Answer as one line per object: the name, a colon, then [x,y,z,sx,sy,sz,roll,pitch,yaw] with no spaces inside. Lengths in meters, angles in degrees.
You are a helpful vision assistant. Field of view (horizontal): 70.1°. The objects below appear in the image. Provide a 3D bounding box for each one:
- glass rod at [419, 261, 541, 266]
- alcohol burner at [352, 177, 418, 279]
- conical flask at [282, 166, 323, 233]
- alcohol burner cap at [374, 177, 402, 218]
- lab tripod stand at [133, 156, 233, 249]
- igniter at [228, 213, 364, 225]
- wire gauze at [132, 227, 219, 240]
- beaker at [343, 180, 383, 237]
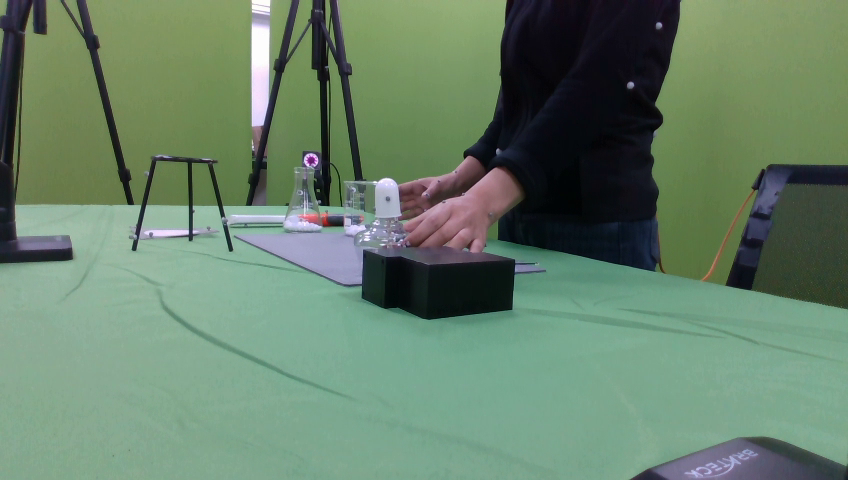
glass rod: [0.080,0.032,0.807,0.201,0.008,0.008,2,6,-31]
alcohol burner: [-0.045,-0.014,0.710,0.078,0.119,0.078,4,9,0]
conical flask: [-0.225,-0.077,1.129,0.075,0.122,0.075,2,8,0]
alcohol burner cap: [-0.044,-0.049,0.704,0.034,0.048,0.034,-5,9,1]
lab tripod stand: [-0.342,-0.054,0.878,0.148,0.131,0.148,4,6,0]
igniter: [-0.252,-0.043,1.226,0.278,0.025,0.057,-2,-3,-32]
wire gauze: [-0.421,-0.014,1.024,0.122,0.011,0.124,-2,7,-34]
beaker: [-0.111,-0.058,1.090,0.083,0.100,0.074,7,8,34]
